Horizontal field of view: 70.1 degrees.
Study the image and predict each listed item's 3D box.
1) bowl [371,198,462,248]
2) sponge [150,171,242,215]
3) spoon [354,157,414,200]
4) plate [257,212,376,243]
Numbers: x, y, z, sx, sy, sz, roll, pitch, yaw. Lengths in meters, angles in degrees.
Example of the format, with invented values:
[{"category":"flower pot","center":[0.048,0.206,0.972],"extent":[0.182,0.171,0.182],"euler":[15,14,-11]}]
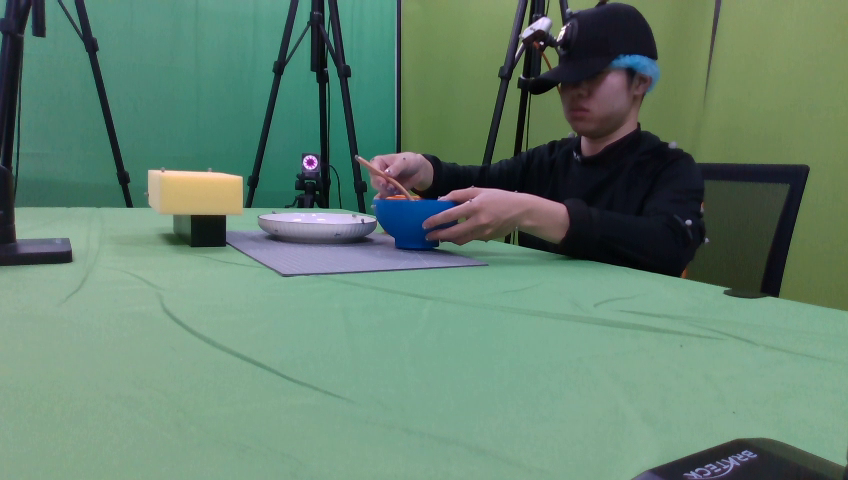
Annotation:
[{"category":"bowl","center":[-0.013,-0.029,0.993],"extent":[0.151,0.077,0.151],"euler":[1,4,0]},{"category":"sponge","center":[-0.379,-0.079,0.994],"extent":[0.119,0.061,0.206],"euler":[-1,7,-29]},{"category":"spoon","center":[-0.041,-0.082,1.009],"extent":[0.193,0.021,0.042],"euler":[41,14,9]},{"category":"plate","center":[-0.189,-0.023,1.072],"extent":[0.209,0.038,0.209],"euler":[3,7,0]}]
